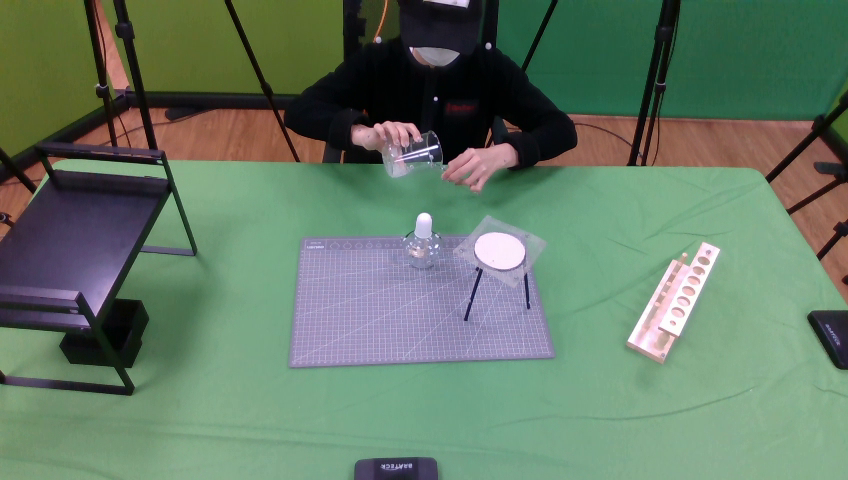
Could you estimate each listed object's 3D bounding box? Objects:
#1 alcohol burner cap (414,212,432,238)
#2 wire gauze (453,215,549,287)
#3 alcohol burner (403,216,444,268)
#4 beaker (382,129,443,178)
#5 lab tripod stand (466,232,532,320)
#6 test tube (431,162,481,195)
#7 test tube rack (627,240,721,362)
[{"bbox_3d":[0.000,-0.030,1.107,0.034,0.048,0.033,4,41,-3],"label":"alcohol burner cap"},{"bbox_3d":[0.129,0.012,1.017,0.124,0.011,0.121,28,50,23],"label":"wire gauze"},{"bbox_3d":[-0.001,-0.004,1.132,0.078,0.120,0.077,1,47,0],"label":"alcohol burner"},{"bbox_3d":[-0.024,-0.160,1.148,0.100,0.084,0.073,-17,46,-16],"label":"beaker"},{"bbox_3d":[0.125,0.059,1.065,0.148,0.132,0.147,1,45,0],"label":"lab tripod stand"},{"bbox_3d":[0.068,-0.124,1.238,0.151,0.017,0.017,24,29,-43],"label":"test tube"},{"bbox_3d":[0.452,0.098,1.087,0.066,0.085,0.242,28,51,22],"label":"test tube rack"}]
